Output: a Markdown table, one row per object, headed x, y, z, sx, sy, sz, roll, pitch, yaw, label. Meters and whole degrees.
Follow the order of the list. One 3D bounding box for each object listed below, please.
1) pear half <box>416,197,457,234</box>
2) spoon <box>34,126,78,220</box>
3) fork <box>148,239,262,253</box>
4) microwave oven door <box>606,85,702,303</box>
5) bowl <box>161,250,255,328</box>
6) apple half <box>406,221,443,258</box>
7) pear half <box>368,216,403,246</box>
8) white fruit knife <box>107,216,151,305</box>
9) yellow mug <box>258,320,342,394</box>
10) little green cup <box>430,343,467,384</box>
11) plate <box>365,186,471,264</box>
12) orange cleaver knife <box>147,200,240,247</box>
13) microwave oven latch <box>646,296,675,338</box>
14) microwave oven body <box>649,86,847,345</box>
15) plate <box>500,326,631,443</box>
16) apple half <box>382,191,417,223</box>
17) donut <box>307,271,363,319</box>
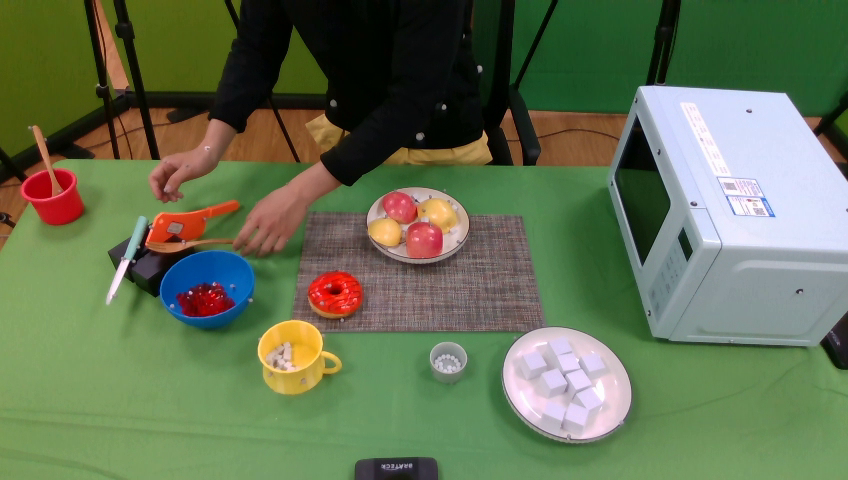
| x | y | z | sx | sy | sz | roll | pitch | yaw | label |
| --- | --- | --- | --- | --- | --- | --- | --- | --- | --- |
| 0.017 | -0.065 | 1.226 | 0.076 | 0.056 | 0.109 | -27 | 50 | -32 | pear half |
| -0.726 | -0.132 | 1.188 | 0.042 | 0.021 | 0.194 | -18 | 94 | -21 | spoon |
| -0.398 | 0.008 | 1.117 | 0.208 | 0.019 | 0.028 | -5 | 34 | -37 | fork |
| 0.422 | -0.094 | 1.140 | 0.039 | 0.245 | 0.353 | 2 | 46 | -1 | microwave oven door |
| -0.362 | 0.097 | 1.040 | 0.151 | 0.077 | 0.150 | 2 | 45 | -2 | bowl |
| 0.001 | -0.006 | 1.164 | 0.075 | 0.053 | 0.080 | 5 | 42 | 0 | apple half |
| -0.070 | -0.026 | 1.183 | 0.070 | 0.031 | 0.087 | 33 | 45 | 0 | pear half |
| -0.518 | 0.032 | 1.066 | 0.027 | 0.016 | 0.206 | -19 | 45 | 20 | white fruit knife |
| -0.196 | 0.189 | 0.971 | 0.131 | 0.064 | 0.099 | 9 | 46 | 3 | yellow mug |
| 0.039 | 0.203 | 0.993 | 0.061 | 0.039 | 0.061 | 2 | 46 | -2 | little green cup |
| -0.013 | -0.027 | 1.207 | 0.209 | 0.038 | 0.208 | 2 | 46 | -2 | plate |
| -0.435 | -0.033 | 1.157 | 0.012 | 0.077 | 0.211 | 31 | 26 | 18 | orange cleaver knife |
| 0.412 | 0.134 | 1.061 | 0.030 | 0.029 | 0.078 | 4 | 45 | 1 | microwave oven latch |
| 0.568 | -0.053 | 1.118 | 0.326 | 0.261 | 0.439 | 2 | 45 | -1 | microwave oven body |
| 0.224 | 0.234 | 0.978 | 0.208 | 0.039 | 0.206 | 2 | 46 | -2 | plate |
| -0.043 | -0.072 | 1.225 | 0.081 | 0.033 | 0.081 | 19 | 41 | -17 | apple half |
| -0.157 | 0.097 | 1.072 | 0.099 | 0.048 | 0.098 | 4 | 45 | -4 | donut |
